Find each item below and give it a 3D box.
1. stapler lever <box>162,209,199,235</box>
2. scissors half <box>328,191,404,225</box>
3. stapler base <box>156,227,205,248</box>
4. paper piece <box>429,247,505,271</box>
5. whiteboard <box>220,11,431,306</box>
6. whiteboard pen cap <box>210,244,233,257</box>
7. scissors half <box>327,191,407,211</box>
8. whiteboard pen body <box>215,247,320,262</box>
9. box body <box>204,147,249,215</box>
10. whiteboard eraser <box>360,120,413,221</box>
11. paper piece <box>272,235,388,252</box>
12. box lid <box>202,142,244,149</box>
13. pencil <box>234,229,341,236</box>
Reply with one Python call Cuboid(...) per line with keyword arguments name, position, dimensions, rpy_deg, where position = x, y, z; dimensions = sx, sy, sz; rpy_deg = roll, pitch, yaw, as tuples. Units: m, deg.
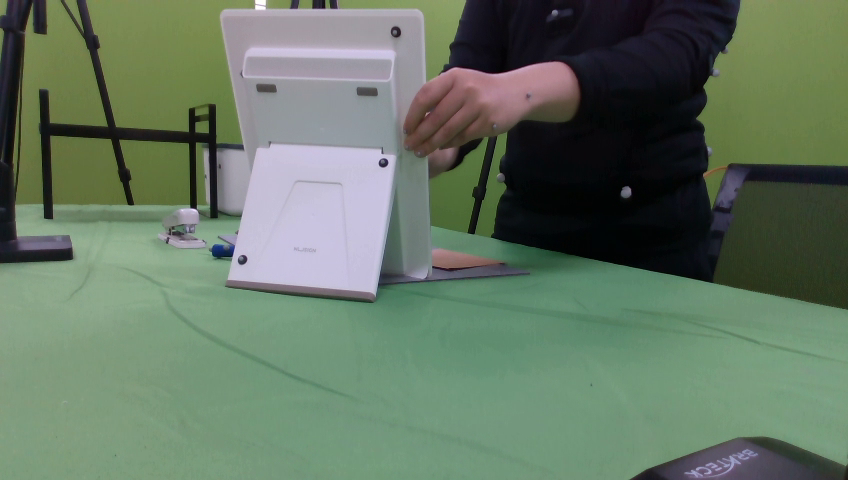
Cuboid(name="stapler lever", position=(-0.376, -0.031, 0.933), dimensions=(0.027, 0.040, 0.117), rpy_deg=(1, 7, -38))
Cuboid(name="scissors half", position=(-0.127, -0.072, 1.320), dimensions=(0.175, 0.040, 0.013), rpy_deg=(22, 8, -6))
Cuboid(name="stapler base", position=(-0.376, -0.007, 0.934), dimensions=(0.041, 0.024, 0.130), rpy_deg=(1, 5, -38))
Cuboid(name="paper piece", position=(0.025, 0.026, 0.865), dimensions=(0.134, 0.004, 0.136), rpy_deg=(12, 12, 42))
Cuboid(name="whiteboard", position=(-0.119, -0.064, 0.619), dimensions=(0.217, 0.305, 0.144), rpy_deg=(5, 29, 13))
Cuboid(name="whiteboard pen cap", position=(-0.266, 0.015, 0.806), dimensions=(0.033, 0.018, 0.018), rpy_deg=(2, 7, -1))
Cuboid(name="scissors half", position=(-0.123, -0.092, 1.315), dimensions=(0.175, 0.040, 0.013), rpy_deg=(6, 15, -3))
Cuboid(name="whiteboard pen body", position=(-0.208, 0.019, 0.804), dimensions=(0.141, 0.017, 0.017), rpy_deg=(2, 7, 1))
Cuboid(name="box body", position=(-0.346, -0.152, 1.519), dimensions=(0.366, 0.160, 0.253), rpy_deg=(-2, 9, -31))
Cuboid(name="whiteboard eraser", position=(-0.045, -0.077, 0.691), dimensions=(0.055, 0.112, 0.042), rpy_deg=(13, 32, 13))
Cuboid(name="paper piece", position=(-0.151, 0.003, 0.978), dimensions=(0.135, 0.008, 0.139), rpy_deg=(13, 10, 35))
Cuboid(name="box lid", position=(-0.345, -0.225, 1.509), dimensions=(0.373, 0.015, 0.262), rpy_deg=(-2, 8, -31))
Cuboid(name="pencil", position=(-0.232, -0.012, 1.053), dimensions=(0.195, 0.012, 0.012), rpy_deg=(0, 8, -36))
